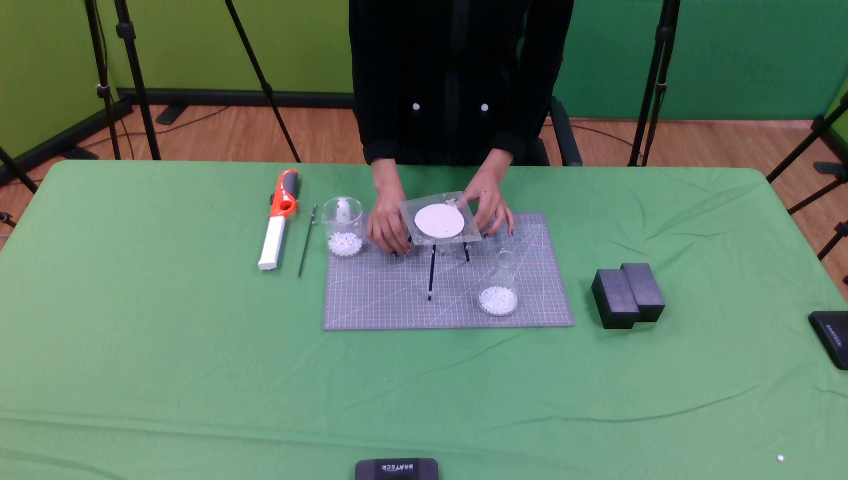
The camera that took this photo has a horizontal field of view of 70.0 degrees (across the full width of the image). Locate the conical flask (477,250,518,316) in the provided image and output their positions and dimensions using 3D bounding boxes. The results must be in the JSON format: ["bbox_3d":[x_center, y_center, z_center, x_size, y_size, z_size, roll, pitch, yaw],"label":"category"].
[{"bbox_3d":[0.136,0.072,1.067,0.075,0.122,0.075,2,46,-2],"label":"conical flask"}]

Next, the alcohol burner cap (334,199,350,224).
[{"bbox_3d":[-0.167,-0.061,1.227,0.034,0.048,0.033,2,45,-2],"label":"alcohol burner cap"}]

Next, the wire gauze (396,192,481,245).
[{"bbox_3d":[0.024,-0.037,1.062,0.125,0.011,0.120,-8,47,-13],"label":"wire gauze"}]

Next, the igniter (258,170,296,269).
[{"bbox_3d":[-0.294,-0.049,1.221,0.057,0.025,0.274,-5,45,4],"label":"igniter"}]

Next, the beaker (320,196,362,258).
[{"bbox_3d":[-0.156,-0.020,1.150,0.084,0.101,0.073,-30,54,-28],"label":"beaker"}]

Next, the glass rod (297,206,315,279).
[{"bbox_3d":[-0.232,0.000,1.191,0.008,0.008,0.198,2,46,-1],"label":"glass rod"}]

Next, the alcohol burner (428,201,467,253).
[{"bbox_3d":[0.047,-0.031,1.167,0.078,0.119,0.077,3,48,-3],"label":"alcohol burner"}]

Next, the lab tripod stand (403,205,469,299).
[{"bbox_3d":[0.023,0.012,1.109,0.148,0.132,0.147,3,44,-2],"label":"lab tripod stand"}]
